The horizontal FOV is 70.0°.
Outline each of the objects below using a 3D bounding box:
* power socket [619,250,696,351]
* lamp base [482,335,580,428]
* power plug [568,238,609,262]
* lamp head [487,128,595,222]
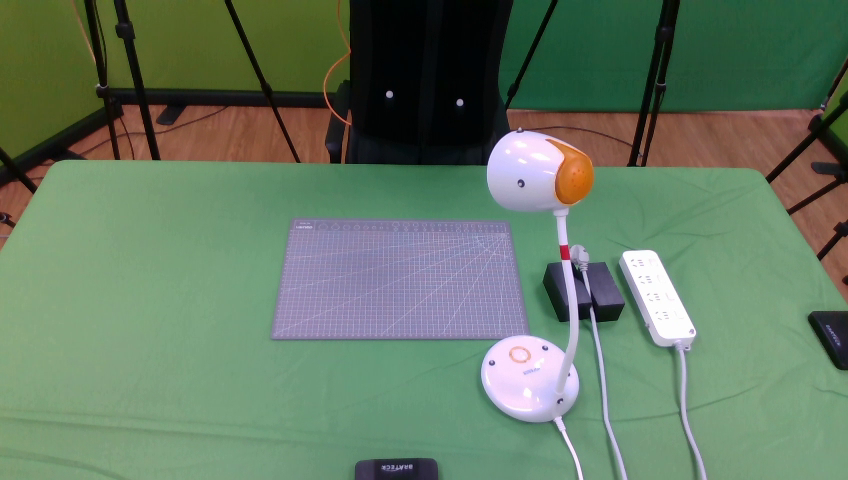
[{"bbox_3d":[0.428,0.103,1.121,0.072,0.033,0.225,-3,46,-6],"label":"power socket"},{"bbox_3d":[0.185,0.177,0.928,0.161,0.181,0.178,-22,53,-23],"label":"lamp base"},{"bbox_3d":[0.305,0.020,1.130,0.073,0.052,0.035,-9,91,-20],"label":"power plug"},{"bbox_3d":[0.160,-0.084,0.791,0.112,0.113,0.122,-24,28,-25],"label":"lamp head"}]
